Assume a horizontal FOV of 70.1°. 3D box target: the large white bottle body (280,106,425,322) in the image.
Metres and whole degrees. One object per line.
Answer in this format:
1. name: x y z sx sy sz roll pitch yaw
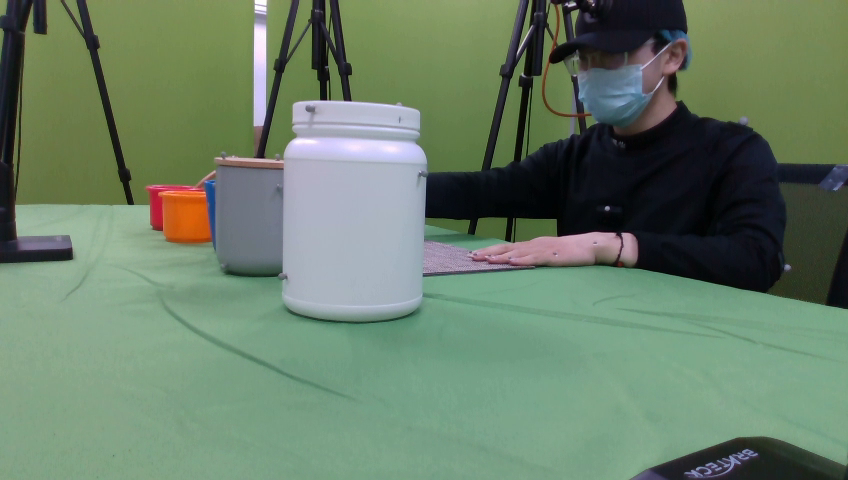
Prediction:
1. large white bottle body: -0.065 -0.028 0.559 0.131 0.184 0.130 2 7 0

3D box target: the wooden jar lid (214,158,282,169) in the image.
1. wooden jar lid: -0.193 -0.085 0.719 0.108 0.020 0.108 2 9 0

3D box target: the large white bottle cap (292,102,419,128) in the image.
1. large white bottle cap: -0.061 -0.111 0.547 0.115 0.018 0.115 2 8 0

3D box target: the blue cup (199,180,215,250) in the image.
1. blue cup: -0.267 -0.032 0.861 0.093 0.100 0.092 2 9 0

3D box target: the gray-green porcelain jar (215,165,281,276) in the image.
1. gray-green porcelain jar: -0.195 -0.024 0.726 0.106 0.126 0.106 3 7 0

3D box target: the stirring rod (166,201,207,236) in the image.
1. stirring rod: -0.341 -0.066 0.966 0.176 0.006 0.014 -42 23 -9

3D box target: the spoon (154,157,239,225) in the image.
1. spoon: -0.411 -0.092 1.105 0.041 0.022 0.194 13 56 51
